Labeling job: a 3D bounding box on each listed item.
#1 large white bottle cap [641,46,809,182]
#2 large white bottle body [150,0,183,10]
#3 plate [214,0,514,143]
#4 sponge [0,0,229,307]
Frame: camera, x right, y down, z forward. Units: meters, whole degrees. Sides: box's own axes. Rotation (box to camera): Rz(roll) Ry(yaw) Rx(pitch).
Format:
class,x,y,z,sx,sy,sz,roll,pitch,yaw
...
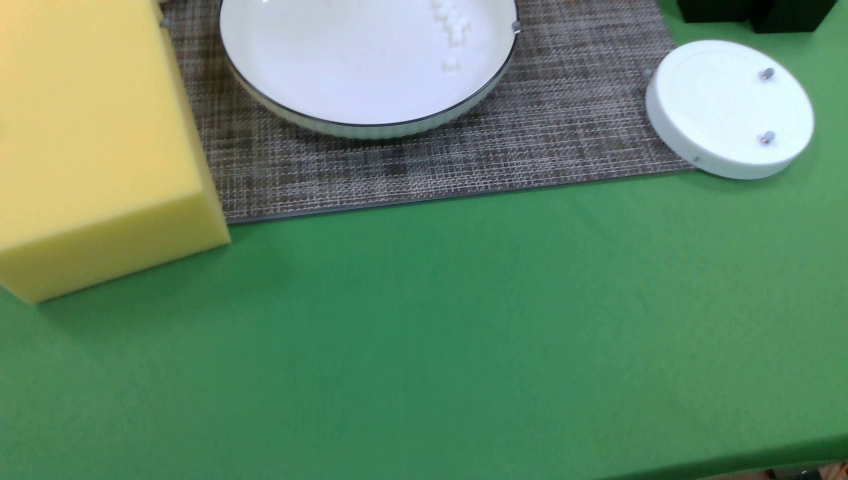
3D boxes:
class,x,y,z,sx,sy,sz,roll,pitch,yaw
large white bottle cap,0.214,-0.092,0.433,0.115,0.018,0.114,2,61,-4
large white bottle body,-0.225,-0.269,0.410,0.131,0.186,0.129,1,61,-1
plate,-0.040,-0.148,0.438,0.209,0.038,0.207,1,61,-2
sponge,-0.211,-0.075,0.377,0.118,0.061,0.205,-20,64,-13
